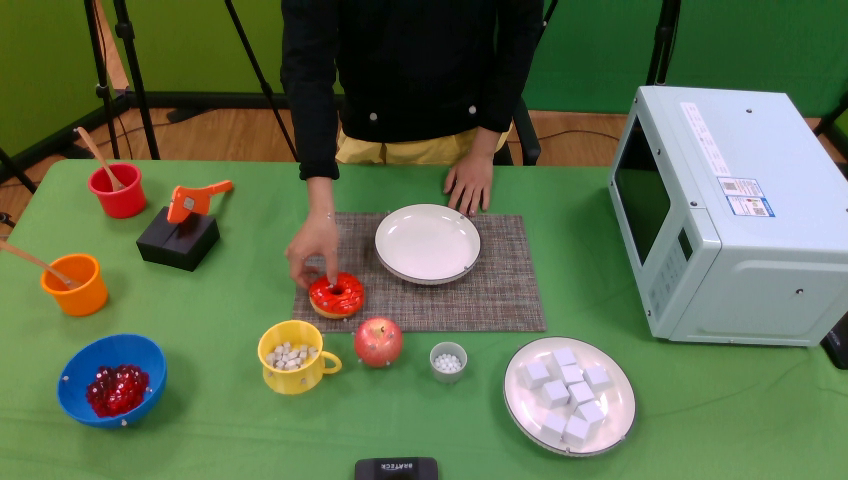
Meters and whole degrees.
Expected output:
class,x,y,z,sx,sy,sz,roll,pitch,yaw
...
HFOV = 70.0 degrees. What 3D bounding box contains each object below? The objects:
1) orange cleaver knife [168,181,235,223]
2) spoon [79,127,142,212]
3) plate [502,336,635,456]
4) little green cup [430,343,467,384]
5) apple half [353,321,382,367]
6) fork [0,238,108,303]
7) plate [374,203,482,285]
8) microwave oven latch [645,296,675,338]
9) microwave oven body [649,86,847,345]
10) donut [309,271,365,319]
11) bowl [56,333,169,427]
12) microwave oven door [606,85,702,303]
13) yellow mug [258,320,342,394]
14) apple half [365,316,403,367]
class,x,y,z,sx,sy,sz,roll,pitch,yaw
orange cleaver knife,-0.436,-0.078,1.196,0.012,0.077,0.211,16,15,10
spoon,-0.624,-0.140,1.203,0.041,0.021,0.194,-33,100,-26
plate,0.225,0.248,0.963,0.208,0.039,0.206,2,46,-2
little green cup,0.039,0.203,0.994,0.061,0.039,0.061,2,46,-2
apple half,-0.098,0.177,0.984,0.033,0.081,0.081,-17,49,-25
fork,-0.633,0.048,1.017,0.208,0.018,0.028,40,41,-27
plate,0.007,0.011,1.172,0.209,0.038,0.208,2,46,-2
microwave oven latch,0.412,0.134,1.061,0.030,0.029,0.078,3,45,0
microwave oven body,0.567,-0.053,1.118,0.326,0.261,0.439,2,45,-1
donut,-0.154,0.097,1.072,0.099,0.048,0.098,5,46,-5
bowl,-0.456,0.223,0.912,0.151,0.077,0.150,3,46,-2
microwave oven door,0.422,-0.094,1.140,0.039,0.245,0.353,2,46,-1
yellow mug,-0.196,0.189,0.972,0.131,0.064,0.099,9,46,4
apple half,-0.063,0.165,1.000,0.053,0.075,0.080,-16,45,-24
